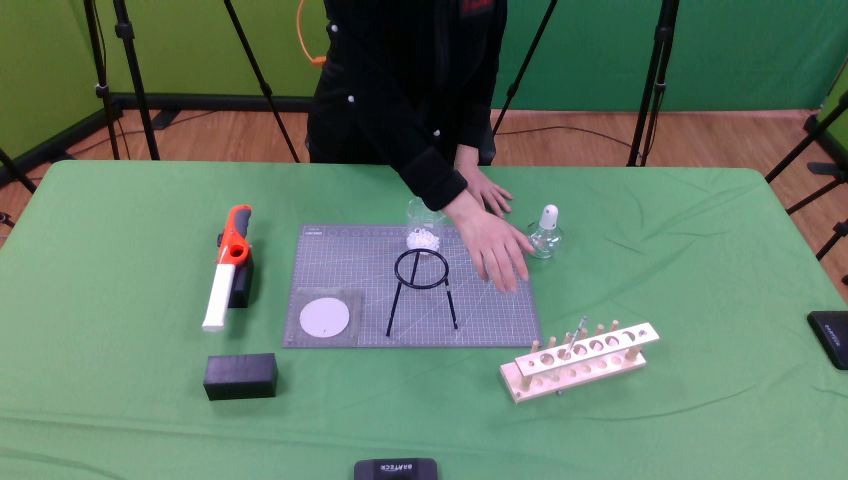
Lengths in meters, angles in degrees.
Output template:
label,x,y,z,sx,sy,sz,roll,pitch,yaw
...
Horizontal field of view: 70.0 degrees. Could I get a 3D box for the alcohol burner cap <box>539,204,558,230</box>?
label,x,y,z,sx,sy,sz,roll,pitch,yaw
alcohol burner cap,0.238,-0.046,1.148,0.034,0.048,0.033,2,43,-2

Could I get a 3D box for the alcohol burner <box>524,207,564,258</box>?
label,x,y,z,sx,sy,sz,roll,pitch,yaw
alcohol burner,0.236,-0.020,1.174,0.078,0.120,0.077,1,48,-1

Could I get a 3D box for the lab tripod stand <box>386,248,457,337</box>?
label,x,y,z,sx,sy,sz,roll,pitch,yaw
lab tripod stand,-0.010,0.087,1.032,0.148,0.132,0.147,1,45,-1

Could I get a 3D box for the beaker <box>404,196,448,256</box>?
label,x,y,z,sx,sy,sz,roll,pitch,yaw
beaker,0.001,-0.024,1.164,0.084,0.101,0.073,6,46,0

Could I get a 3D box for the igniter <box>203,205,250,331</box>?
label,x,y,z,sx,sy,sz,roll,pitch,yaw
igniter,-0.345,0.039,1.065,0.057,0.025,0.274,2,48,-6

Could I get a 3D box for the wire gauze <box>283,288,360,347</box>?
label,x,y,z,sx,sy,sz,roll,pitch,yaw
wire gauze,-0.178,0.132,1.063,0.125,0.011,0.120,2,46,1

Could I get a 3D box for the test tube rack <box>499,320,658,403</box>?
label,x,y,z,sx,sy,sz,roll,pitch,yaw
test tube rack,0.252,0.187,0.994,0.243,0.085,0.066,-12,48,-15

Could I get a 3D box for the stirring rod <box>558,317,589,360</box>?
label,x,y,z,sx,sy,sz,roll,pitch,yaw
stirring rod,0.221,0.155,0.912,0.014,0.177,0.006,5,58,2
